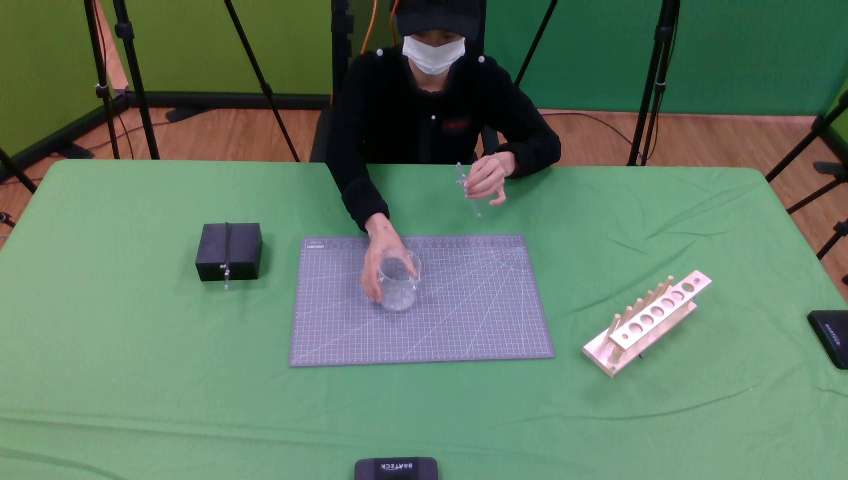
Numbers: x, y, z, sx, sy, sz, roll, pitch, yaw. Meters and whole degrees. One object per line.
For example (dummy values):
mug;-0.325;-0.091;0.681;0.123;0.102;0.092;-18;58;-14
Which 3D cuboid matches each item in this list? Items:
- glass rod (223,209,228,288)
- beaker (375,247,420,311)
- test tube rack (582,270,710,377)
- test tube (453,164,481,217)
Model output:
glass rod;-0.360;0.010;1.098;0.008;0.008;0.198;-7;47;-12
beaker;-0.045;0.073;1.055;0.083;0.101;0.074;35;55;20
test tube rack;0.389;0.132;1.057;0.242;0.085;0.066;-28;54;-28
test tube;0.083;-0.090;1.139;0.017;0.151;0.017;-11;53;16
